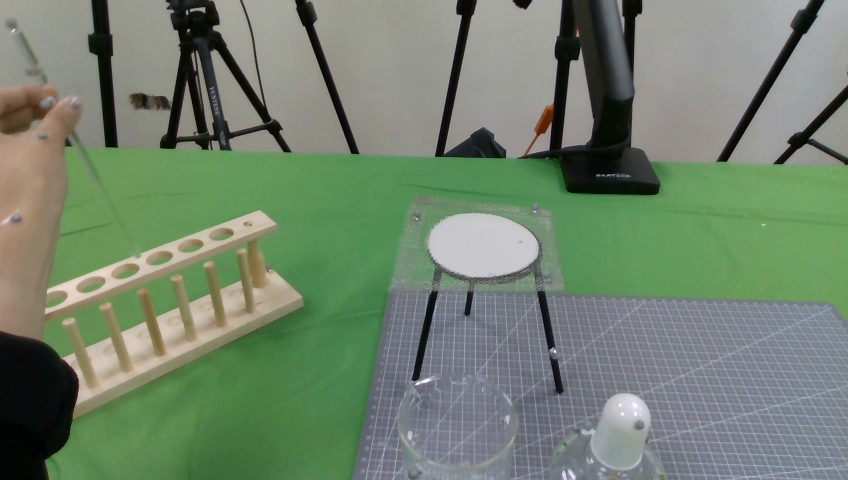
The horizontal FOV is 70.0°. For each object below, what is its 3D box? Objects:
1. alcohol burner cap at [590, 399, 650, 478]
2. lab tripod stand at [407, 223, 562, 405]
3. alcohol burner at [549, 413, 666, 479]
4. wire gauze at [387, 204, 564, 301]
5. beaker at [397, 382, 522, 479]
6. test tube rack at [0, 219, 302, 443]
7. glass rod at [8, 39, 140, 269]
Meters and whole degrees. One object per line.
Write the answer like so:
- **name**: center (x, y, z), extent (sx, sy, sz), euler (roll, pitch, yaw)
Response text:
- **alcohol burner cap**: center (0.122, 0.118, 0.370), extent (0.034, 0.048, 0.033), euler (2, 35, -1)
- **lab tripod stand**: center (0.050, 0.063, 0.503), extent (0.148, 0.132, 0.147), euler (1, 33, 0)
- **alcohol burner**: center (0.121, 0.148, 0.390), extent (0.078, 0.120, 0.077), euler (0, 36, 0)
- **wire gauze**: center (0.041, 0.008, 0.464), extent (0.121, 0.011, 0.124), euler (4, 34, 4)
- **beaker**: center (0.019, 0.153, 0.398), extent (0.074, 0.101, 0.083), euler (-27, 41, -34)
- **test tube rack**: center (-0.236, 0.071, 0.544), extent (0.243, 0.086, 0.066), euler (-25, 41, -33)
- **glass rod**: center (-0.253, -0.051, 0.450), extent (0.008, 0.201, 0.008), euler (-3, 41, 3)
